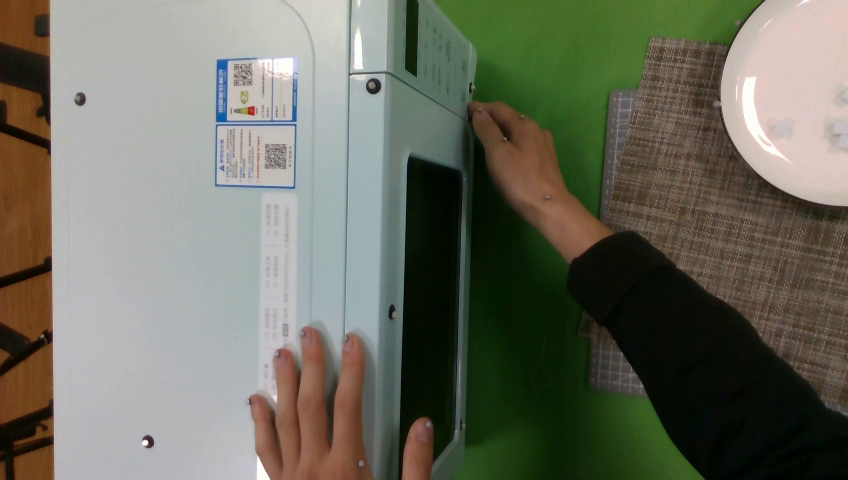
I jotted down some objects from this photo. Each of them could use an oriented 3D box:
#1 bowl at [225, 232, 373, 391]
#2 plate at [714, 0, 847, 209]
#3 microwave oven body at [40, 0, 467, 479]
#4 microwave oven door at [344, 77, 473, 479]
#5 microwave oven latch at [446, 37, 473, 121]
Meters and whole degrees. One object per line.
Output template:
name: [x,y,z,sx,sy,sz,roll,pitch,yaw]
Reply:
bowl: [-0.110,0.066,0.599,0.151,0.077,0.151,1,92,18]
plate: [0.360,-0.129,0.516,0.208,0.038,0.209,0,92,18]
microwave oven body: [-0.143,0.014,0.575,0.325,0.261,0.442,3,94,18]
microwave oven door: [-0.007,0.062,0.527,0.039,0.244,0.356,2,93,19]
microwave oven latch: [0.032,-0.161,0.610,0.030,0.029,0.079,8,96,17]
